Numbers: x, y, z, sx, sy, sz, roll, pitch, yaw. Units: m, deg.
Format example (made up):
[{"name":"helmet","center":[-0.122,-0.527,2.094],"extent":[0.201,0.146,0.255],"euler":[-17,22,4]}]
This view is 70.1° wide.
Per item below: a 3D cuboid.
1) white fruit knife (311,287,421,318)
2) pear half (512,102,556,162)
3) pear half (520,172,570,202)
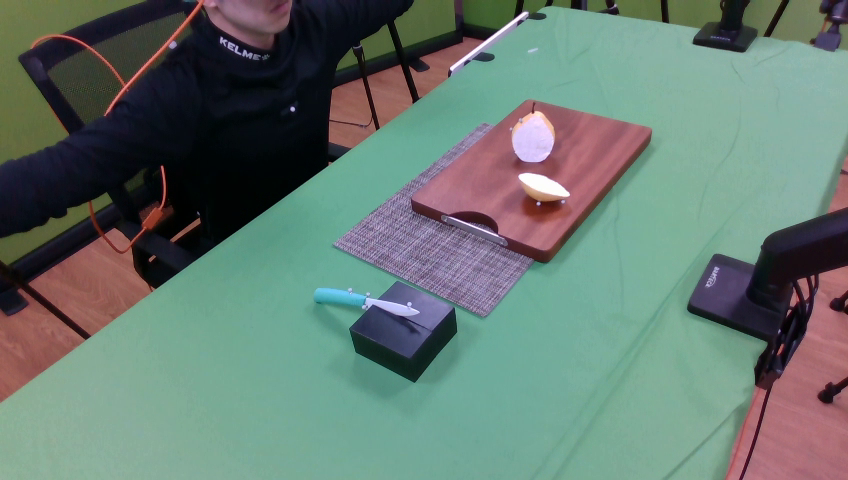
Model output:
[{"name":"white fruit knife","center":[-0.084,0.086,0.831],"extent":[0.206,0.027,0.016],"euler":[5,30,38]},{"name":"pear half","center":[0.193,-0.197,1.060],"extent":[0.076,0.110,0.056],"euler":[3,41,6]},{"name":"pear half","center":[0.193,-0.080,0.981],"extent":[0.087,0.031,0.071],"euler":[35,38,22]}]
